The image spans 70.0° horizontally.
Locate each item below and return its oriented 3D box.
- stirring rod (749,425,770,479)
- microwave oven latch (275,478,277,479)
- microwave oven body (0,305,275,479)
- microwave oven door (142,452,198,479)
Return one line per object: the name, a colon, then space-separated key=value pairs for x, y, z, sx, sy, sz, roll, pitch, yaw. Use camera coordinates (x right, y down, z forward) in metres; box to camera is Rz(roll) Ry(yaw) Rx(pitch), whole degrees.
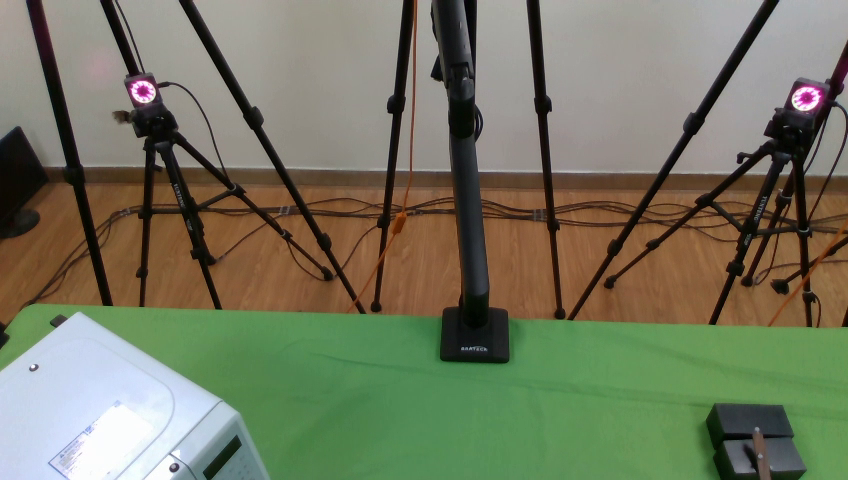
stirring rod: x=0.464 y=0.341 z=0.819 sx=0.014 sy=0.006 sz=0.175 roll=-5 pitch=68 yaw=13
microwave oven latch: x=-0.234 y=0.363 z=0.835 sx=0.030 sy=0.030 sz=0.079 roll=24 pitch=51 yaw=24
microwave oven body: x=-0.457 y=0.351 z=0.719 sx=0.324 sy=0.262 sz=0.440 roll=22 pitch=50 yaw=23
microwave oven door: x=-0.355 y=0.422 z=0.633 sx=0.039 sy=0.246 sz=0.354 roll=22 pitch=49 yaw=24
